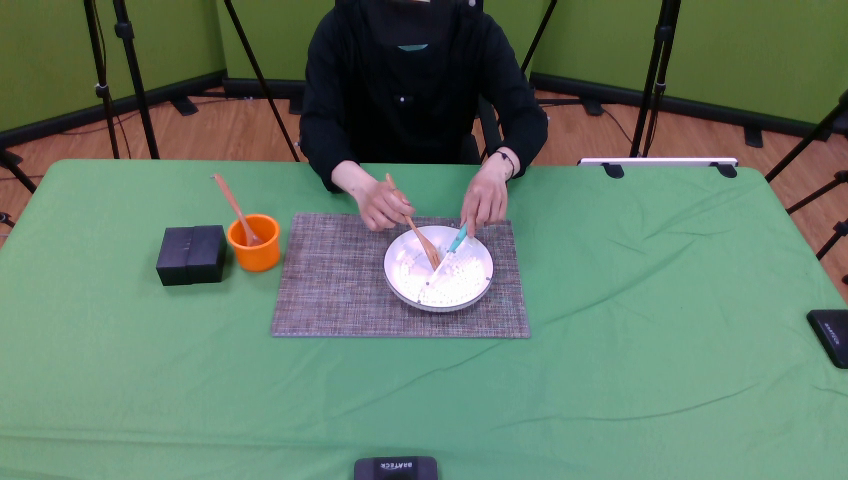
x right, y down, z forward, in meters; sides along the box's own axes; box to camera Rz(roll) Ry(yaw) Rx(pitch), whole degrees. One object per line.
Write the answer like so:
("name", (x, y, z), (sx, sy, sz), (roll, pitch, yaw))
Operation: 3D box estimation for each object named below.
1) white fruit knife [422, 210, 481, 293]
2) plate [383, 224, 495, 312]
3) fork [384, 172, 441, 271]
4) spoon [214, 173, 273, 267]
("white fruit knife", (0.053, 0.019, 1.136), (0.016, 0.027, 0.207), (28, 66, 15))
("plate", (0.026, 0.055, 1.128), (0.209, 0.038, 0.208), (2, 46, -2))
("fork", (-0.021, -0.034, 1.128), (0.028, 0.018, 0.207), (-33, 94, -41))
("spoon", (-0.335, -0.037, 1.121), (0.041, 0.194, 0.021), (-29, 10, -22))
